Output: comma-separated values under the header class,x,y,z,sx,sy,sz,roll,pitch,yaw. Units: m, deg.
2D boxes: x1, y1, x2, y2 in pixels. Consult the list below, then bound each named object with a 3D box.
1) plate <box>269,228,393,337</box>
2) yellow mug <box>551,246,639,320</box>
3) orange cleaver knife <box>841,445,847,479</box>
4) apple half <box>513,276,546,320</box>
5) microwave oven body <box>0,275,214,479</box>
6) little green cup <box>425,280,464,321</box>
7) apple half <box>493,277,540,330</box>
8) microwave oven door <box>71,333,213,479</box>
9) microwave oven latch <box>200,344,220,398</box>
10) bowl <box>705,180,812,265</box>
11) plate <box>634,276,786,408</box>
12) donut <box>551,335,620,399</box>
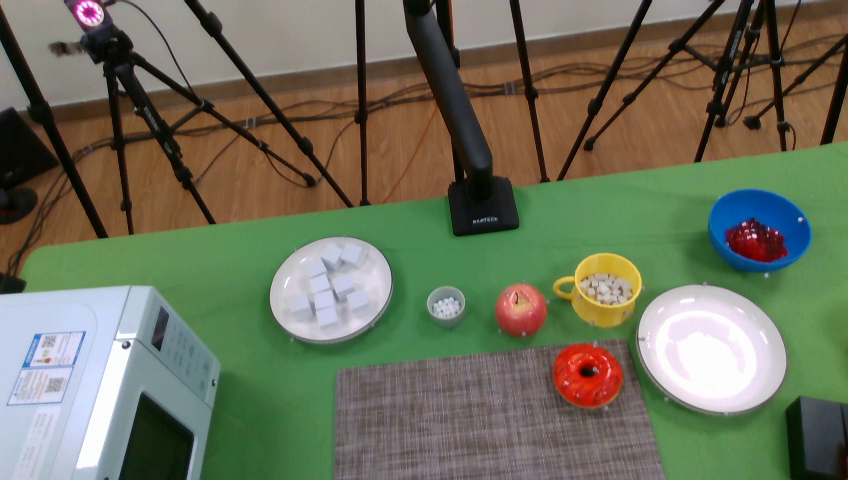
class,x,y,z,sx,sy,sz,roll,pitch,yaw
plate,-0.153,0.073,1.018,0.207,0.039,0.205,-3,55,5
yellow mug,0.267,0.067,0.955,0.130,0.064,0.099,2,55,9
orange cleaver knife,0.518,0.321,0.732,0.012,0.077,0.211,9,89,14
apple half,0.170,0.087,0.947,0.033,0.082,0.080,-31,57,-9
microwave oven body,-0.488,0.300,0.757,0.326,0.262,0.437,-4,56,4
little green cup,0.035,0.099,0.977,0.061,0.039,0.061,-3,55,5
apple half,0.136,0.106,0.939,0.053,0.075,0.080,-31,61,-9
microwave oven door,-0.342,0.321,0.719,0.039,0.246,0.352,-5,55,4
microwave oven latch,-0.334,0.200,0.927,0.030,0.030,0.078,-2,56,5
bowl,0.523,-0.014,0.973,0.151,0.077,0.150,-3,55,5
plate,0.416,0.150,0.896,0.209,0.038,0.207,-3,55,5
donut,0.234,0.185,0.885,0.099,0.049,0.098,-4,56,6
